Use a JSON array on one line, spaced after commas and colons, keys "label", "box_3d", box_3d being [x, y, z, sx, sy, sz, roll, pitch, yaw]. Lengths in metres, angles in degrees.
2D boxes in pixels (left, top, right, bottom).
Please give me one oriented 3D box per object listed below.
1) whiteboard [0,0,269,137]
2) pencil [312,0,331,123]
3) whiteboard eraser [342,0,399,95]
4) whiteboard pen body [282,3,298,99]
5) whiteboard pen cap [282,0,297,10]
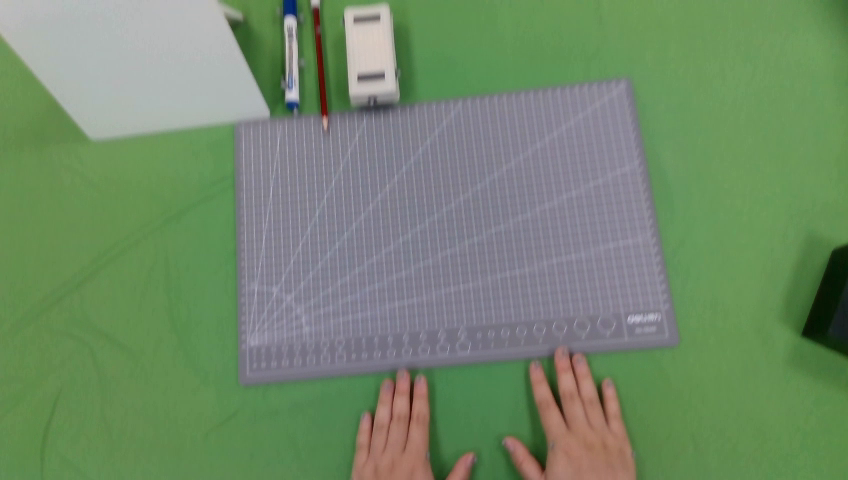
[{"label": "whiteboard", "box_3d": [-0.303, -0.271, 0.605, 0.217, 0.308, 0.142, -6, 58, 4]}, {"label": "pencil", "box_3d": [-0.119, -0.224, 0.700, 0.012, 0.012, 0.193, -9, 78, 3]}, {"label": "whiteboard eraser", "box_3d": [-0.060, -0.219, 0.679, 0.055, 0.042, 0.112, -7, 78, 4]}, {"label": "whiteboard pen body", "box_3d": [-0.156, -0.229, 0.700, 0.017, 0.017, 0.140, -5, 78, 4]}, {"label": "whiteboard pen cap", "box_3d": [-0.159, -0.286, 0.711, 0.018, 0.018, 0.033, -7, 76, 3]}]
